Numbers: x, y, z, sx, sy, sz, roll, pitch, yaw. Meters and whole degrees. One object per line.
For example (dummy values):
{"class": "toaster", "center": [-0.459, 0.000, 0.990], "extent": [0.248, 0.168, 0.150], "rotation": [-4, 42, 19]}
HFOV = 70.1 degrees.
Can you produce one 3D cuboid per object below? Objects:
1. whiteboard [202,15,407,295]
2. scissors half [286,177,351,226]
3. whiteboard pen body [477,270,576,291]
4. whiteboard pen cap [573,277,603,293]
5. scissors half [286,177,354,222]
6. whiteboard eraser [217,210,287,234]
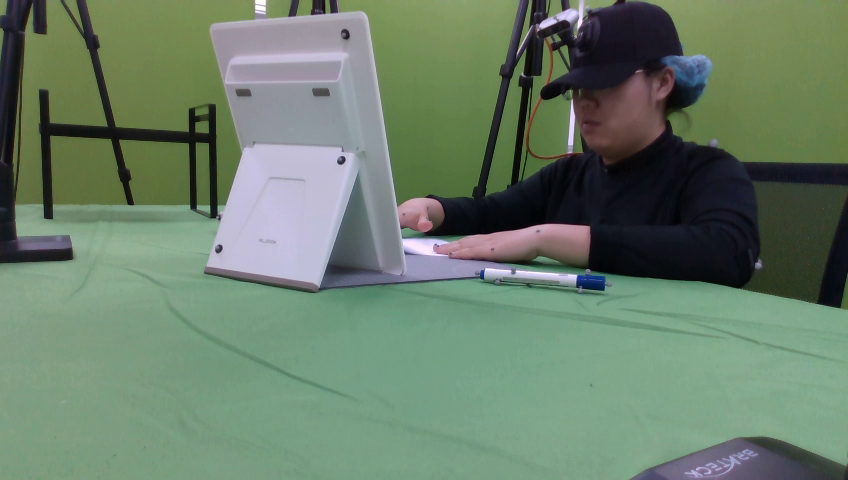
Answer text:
{"class": "whiteboard", "center": [-0.167, -0.073, 0.668], "extent": [0.216, 0.305, 0.144], "rotation": [7, 30, 28]}
{"class": "scissors half", "center": [-0.232, -0.085, 1.317], "extent": [0.175, 0.013, 0.040], "rotation": [37, 18, 5]}
{"class": "whiteboard pen body", "center": [0.131, 0.048, 0.707], "extent": [0.140, 0.017, 0.017], "rotation": [4, 8, 17]}
{"class": "whiteboard pen cap", "center": [0.186, 0.051, 0.687], "extent": [0.033, 0.018, 0.018], "rotation": [4, 7, 17]}
{"class": "scissors half", "center": [-0.230, -0.090, 1.337], "extent": [0.175, 0.013, 0.040], "rotation": [33, 13, -13]}
{"class": "whiteboard eraser", "center": [-0.310, -0.034, 1.094], "extent": [0.113, 0.042, 0.055], "rotation": [-2, 11, -38]}
